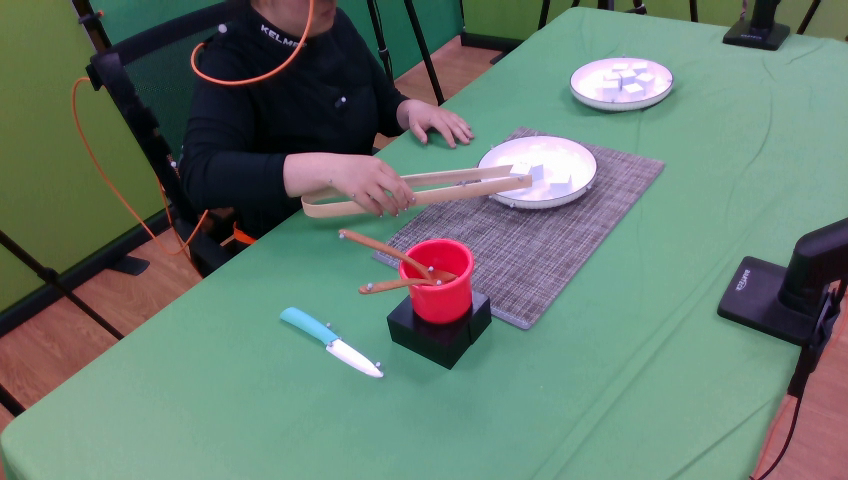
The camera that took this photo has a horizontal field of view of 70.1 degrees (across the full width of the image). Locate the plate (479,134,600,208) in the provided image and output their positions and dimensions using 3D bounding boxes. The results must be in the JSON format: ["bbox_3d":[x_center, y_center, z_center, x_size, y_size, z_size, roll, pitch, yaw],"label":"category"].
[{"bbox_3d":[0.202,-0.117,1.065,0.207,0.039,0.206,-5,40,5],"label":"plate"}]

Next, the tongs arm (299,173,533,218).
[{"bbox_3d":[-0.012,-0.080,1.000,0.386,0.026,0.050,-10,40,-6],"label":"tongs arm"}]

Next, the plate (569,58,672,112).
[{"bbox_3d":[0.411,-0.323,1.274,0.209,0.038,0.208,-5,41,5],"label":"plate"}]

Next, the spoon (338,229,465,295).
[{"bbox_3d":[-0.025,0.026,0.776,0.021,0.195,0.041,-41,34,32],"label":"spoon"}]

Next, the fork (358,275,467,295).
[{"bbox_3d":[-0.009,0.056,0.739,0.028,0.018,0.209,48,23,26],"label":"fork"}]

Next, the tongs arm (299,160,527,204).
[{"bbox_3d":[-0.015,-0.097,1.022,0.388,0.028,0.028,-8,43,-4],"label":"tongs arm"}]

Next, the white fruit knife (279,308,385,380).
[{"bbox_3d":[-0.130,0.143,0.845,0.206,0.016,0.027,25,79,32],"label":"white fruit knife"}]
